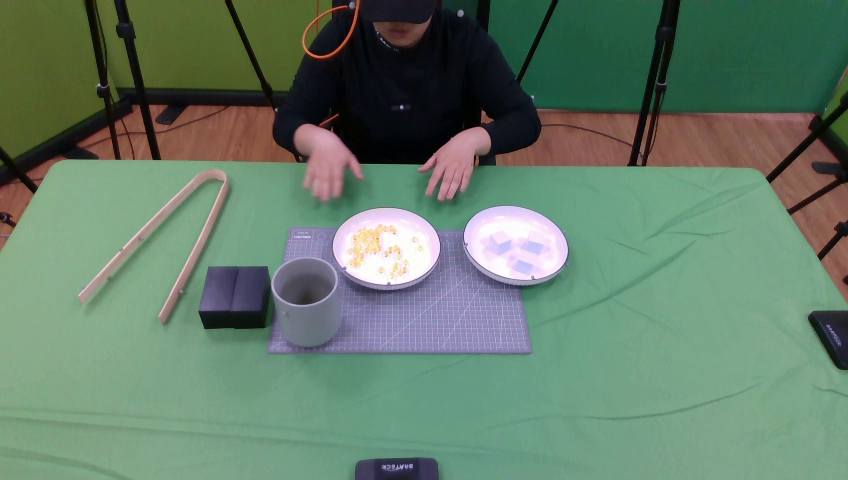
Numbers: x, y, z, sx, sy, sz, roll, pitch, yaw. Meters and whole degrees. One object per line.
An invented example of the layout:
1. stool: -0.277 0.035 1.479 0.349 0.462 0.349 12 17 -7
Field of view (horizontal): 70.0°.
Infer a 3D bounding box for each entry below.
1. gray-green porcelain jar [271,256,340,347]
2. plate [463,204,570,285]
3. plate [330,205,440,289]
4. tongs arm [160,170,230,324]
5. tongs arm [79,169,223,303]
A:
1. gray-green porcelain jar: -0.193 0.107 1.004 0.106 0.127 0.105 2 46 -2
2. plate: 0.178 0.011 1.184 0.209 0.038 0.208 3 46 -3
3. plate: -0.074 0.017 1.160 0.208 0.039 0.206 2 47 -2
4. tongs arm: -0.433 -0.001 1.163 0.028 0.028 0.385 4 46 3
5. tongs arm: -0.512 -0.020 1.169 0.050 0.026 0.383 15 46 9
